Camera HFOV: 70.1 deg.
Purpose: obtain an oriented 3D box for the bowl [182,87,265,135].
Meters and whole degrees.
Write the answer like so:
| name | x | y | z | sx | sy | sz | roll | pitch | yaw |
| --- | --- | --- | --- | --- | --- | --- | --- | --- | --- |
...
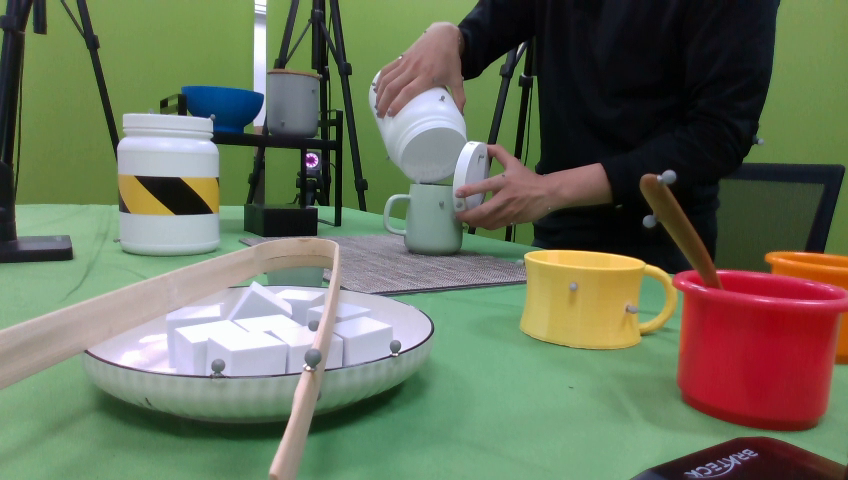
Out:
| name | x | y | z | sx | sy | sz | roll | pitch | yaw |
| --- | --- | --- | --- | --- | --- | --- | --- | --- | --- |
| bowl | -0.383 | -0.243 | 1.158 | 0.151 | 0.077 | 0.151 | 2 | 7 | 0 |

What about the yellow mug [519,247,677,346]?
| name | x | y | z | sx | sy | sz | roll | pitch | yaw |
| --- | --- | --- | --- | --- | --- | --- | --- | --- | --- |
| yellow mug | 0.148 | 0.045 | 0.513 | 0.131 | 0.064 | 0.100 | 3 | 7 | 0 |

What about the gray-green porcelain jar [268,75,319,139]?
| name | x | y | z | sx | sy | sz | roll | pitch | yaw |
| --- | --- | --- | --- | --- | --- | --- | --- | --- | --- |
| gray-green porcelain jar | -0.277 | -0.279 | 1.280 | 0.106 | 0.126 | 0.106 | 2 | 8 | 0 |

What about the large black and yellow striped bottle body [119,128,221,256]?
| name | x | y | z | sx | sy | sz | roll | pitch | yaw |
| --- | --- | --- | --- | --- | --- | --- | --- | --- | --- |
| large black and yellow striped bottle body | -0.355 | -0.076 | 0.850 | 0.131 | 0.184 | 0.130 | 2 | 8 | 0 |

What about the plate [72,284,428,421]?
| name | x | y | z | sx | sy | sz | roll | pitch | yaw |
| --- | --- | --- | --- | --- | --- | --- | --- | --- | --- |
| plate | -0.102 | 0.067 | 0.381 | 0.208 | 0.039 | 0.207 | 3 | 7 | 0 |

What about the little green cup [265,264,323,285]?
| name | x | y | z | sx | sy | sz | roll | pitch | yaw |
| --- | --- | --- | --- | --- | --- | --- | --- | --- | --- |
| little green cup | -0.134 | 0.034 | 0.627 | 0.061 | 0.038 | 0.061 | 3 | 6 | 0 |

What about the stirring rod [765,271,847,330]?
| name | x | y | z | sx | sy | sz | roll | pitch | yaw |
| --- | --- | --- | --- | --- | --- | --- | --- | --- | --- |
| stirring rod | 0.352 | 0.020 | 0.481 | 0.176 | 0.006 | 0.014 | -40 | -8 | 17 |

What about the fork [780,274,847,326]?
| name | x | y | z | sx | sy | sz | roll | pitch | yaw |
| --- | --- | --- | --- | --- | --- | --- | --- | --- | --- |
| fork | 0.332 | 0.019 | 0.443 | 0.028 | 0.018 | 0.207 | -3 | -35 | -16 |

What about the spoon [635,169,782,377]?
| name | x | y | z | sx | sy | sz | roll | pitch | yaw |
| --- | --- | --- | --- | --- | --- | --- | --- | --- | --- |
| spoon | 0.161 | 0.026 | 0.346 | 0.021 | 0.194 | 0.041 | -51 | 32 | -19 |

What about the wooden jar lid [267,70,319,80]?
| name | x | y | z | sx | sy | sz | roll | pitch | yaw |
| --- | --- | --- | --- | --- | --- | --- | --- | --- | --- |
| wooden jar lid | -0.275 | -0.339 | 1.271 | 0.108 | 0.020 | 0.108 | 5 | 6 | 0 |

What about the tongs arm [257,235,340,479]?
| name | x | y | z | sx | sy | sz | roll | pitch | yaw |
| --- | --- | --- | --- | --- | --- | --- | --- | --- | --- |
| tongs arm | -0.074 | 0.040 | 0.345 | 0.051 | 0.026 | 0.384 | -1 | 9 | -3 |

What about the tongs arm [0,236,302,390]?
| name | x | y | z | sx | sy | sz | roll | pitch | yaw |
| --- | --- | --- | --- | --- | --- | --- | --- | --- | --- |
| tongs arm | -0.157 | 0.037 | 0.347 | 0.028 | 0.028 | 0.388 | -2 | 8 | 11 |

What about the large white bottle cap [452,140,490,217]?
| name | x | y | z | sx | sy | sz | roll | pitch | yaw |
| --- | --- | --- | --- | --- | --- | --- | --- | --- | --- |
| large white bottle cap | 0.072 | -0.091 | 0.901 | 0.018 | 0.114 | 0.115 | 11 | 10 | 23 |

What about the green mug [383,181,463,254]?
| name | x | y | z | sx | sy | sz | roll | pitch | yaw |
| --- | --- | --- | --- | --- | --- | --- | --- | --- | --- |
| green mug | -0.001 | -0.036 | 0.922 | 0.126 | 0.105 | 0.092 | 0 | 8 | -16 |

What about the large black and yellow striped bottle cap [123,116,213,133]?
| name | x | y | z | sx | sy | sz | roll | pitch | yaw |
| --- | --- | --- | --- | --- | --- | --- | --- | --- | --- |
| large black and yellow striped bottle cap | -0.353 | -0.159 | 0.838 | 0.115 | 0.019 | 0.115 | 2 | 6 | 0 |

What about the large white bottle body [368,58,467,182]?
| name | x | y | z | sx | sy | sz | roll | pitch | yaw |
| --- | --- | --- | --- | --- | --- | --- | --- | --- | --- |
| large white bottle body | -0.010 | -0.192 | 0.971 | 0.131 | 0.130 | 0.184 | -1 | 45 | -22 |
